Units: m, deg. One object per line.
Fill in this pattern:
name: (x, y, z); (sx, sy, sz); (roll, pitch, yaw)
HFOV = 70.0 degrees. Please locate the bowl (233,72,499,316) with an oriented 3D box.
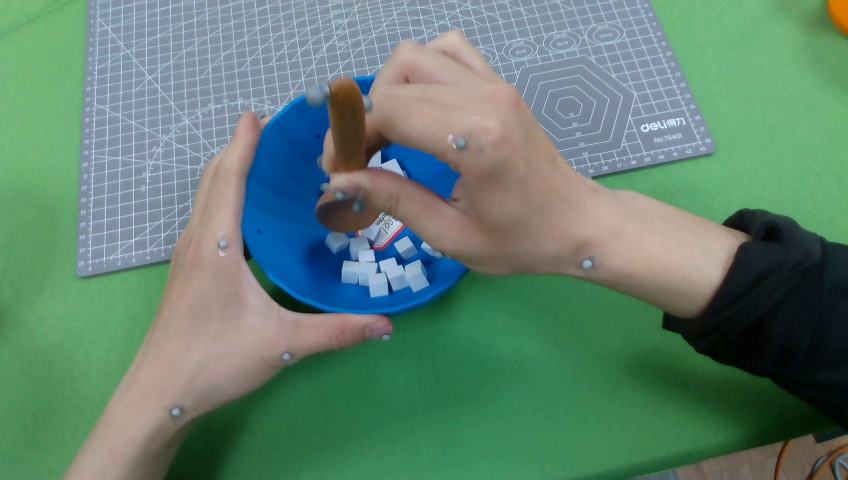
bowl: (-0.031, -0.018, 0.376); (0.151, 0.077, 0.150); (-1, 70, 2)

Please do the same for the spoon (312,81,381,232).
spoon: (-0.036, -0.029, 0.291); (0.042, 0.194, 0.021); (-8, 83, -9)
